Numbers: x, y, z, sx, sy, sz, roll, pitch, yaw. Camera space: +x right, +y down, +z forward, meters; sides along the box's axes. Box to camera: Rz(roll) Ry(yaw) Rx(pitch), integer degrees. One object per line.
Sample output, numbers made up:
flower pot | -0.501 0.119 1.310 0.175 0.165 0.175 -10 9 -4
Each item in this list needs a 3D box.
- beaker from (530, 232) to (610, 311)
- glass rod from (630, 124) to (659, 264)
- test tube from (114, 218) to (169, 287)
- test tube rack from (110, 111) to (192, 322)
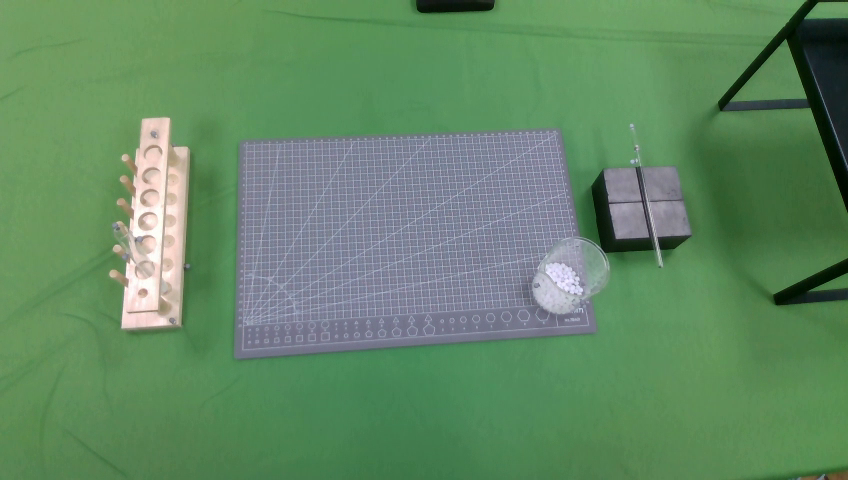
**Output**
beaker | 0.171 0.043 0.739 0.084 0.101 0.073 -2 70 -3
glass rod | 0.285 -0.063 0.786 0.008 0.008 0.198 -1 71 -4
test tube | -0.308 0.018 0.668 0.017 0.151 0.017 3 63 -5
test tube rack | -0.334 -0.029 0.736 0.067 0.085 0.240 -3 70 -5
